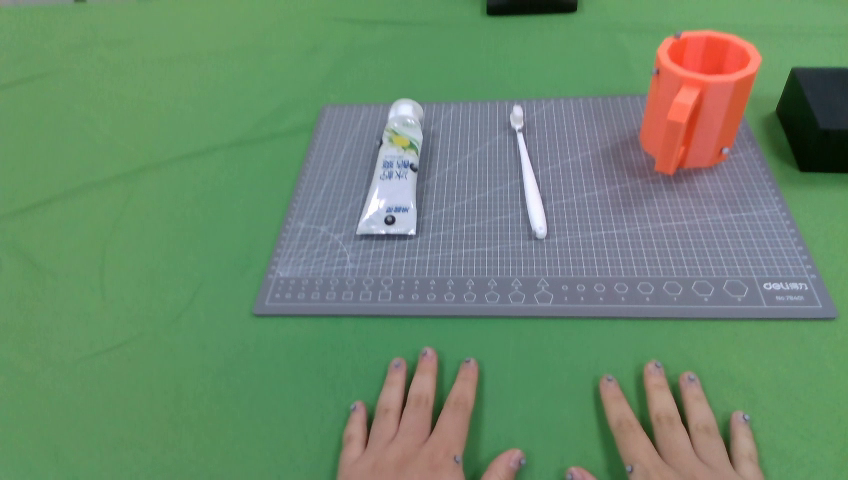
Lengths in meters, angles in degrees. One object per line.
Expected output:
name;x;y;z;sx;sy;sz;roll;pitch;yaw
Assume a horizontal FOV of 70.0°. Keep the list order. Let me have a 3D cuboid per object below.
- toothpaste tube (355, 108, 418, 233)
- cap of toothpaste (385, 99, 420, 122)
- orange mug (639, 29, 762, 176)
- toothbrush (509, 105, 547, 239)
toothpaste tube;-0.030;-0.071;0.584;0.055;0.035;0.163;-3;51;9
cap of toothpaste;-0.022;-0.131;0.631;0.037;0.038;0.011;3;54;9
orange mug;0.242;-0.120;0.551;0.083;0.102;0.126;22;49;25
toothbrush;0.098;-0.071;0.577;0.014;0.017;0.180;5;48;-7
